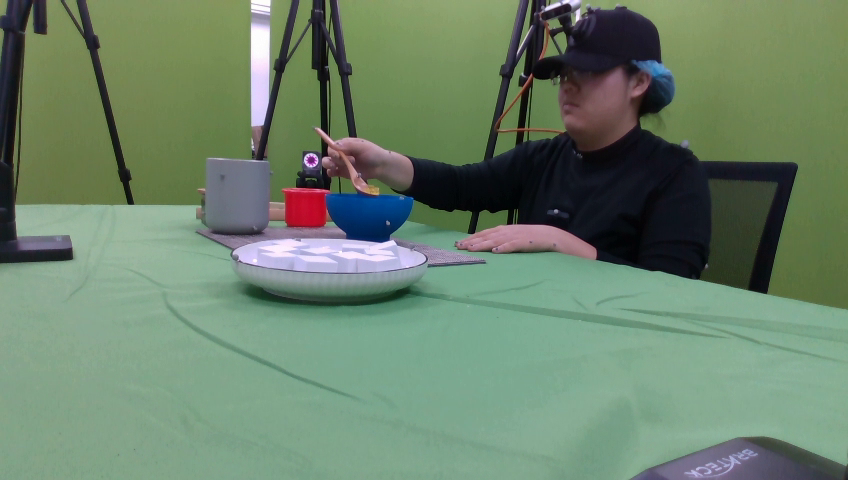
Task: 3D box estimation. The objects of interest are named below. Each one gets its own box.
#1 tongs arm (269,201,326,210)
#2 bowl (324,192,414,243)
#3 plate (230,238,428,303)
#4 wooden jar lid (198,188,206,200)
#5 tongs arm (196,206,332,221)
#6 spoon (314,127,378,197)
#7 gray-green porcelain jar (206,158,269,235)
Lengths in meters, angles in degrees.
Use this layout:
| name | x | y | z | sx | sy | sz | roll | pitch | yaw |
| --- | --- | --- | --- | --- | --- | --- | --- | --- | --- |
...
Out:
| name | x | y | z | sx | sy | sz | roll | pitch | yaw |
| --- | --- | --- | --- | --- | --- | --- | --- | --- | --- |
| tongs arm | -0.308 | -0.073 | 1.410 | 0.386 | 0.026 | 0.050 | 3 | 8 | -6 |
| bowl | -0.093 | -0.037 | 1.015 | 0.151 | 0.077 | 0.151 | 3 | 7 | 0 |
| plate | -0.099 | 0.032 | 0.651 | 0.209 | 0.038 | 0.209 | 3 | 8 | 0 |
| wooden jar lid | -0.382 | -0.088 | 1.175 | 0.108 | 0.020 | 0.108 | 3 | 8 | 0 |
| tongs arm | -0.294 | -0.057 | 1.330 | 0.389 | 0.028 | 0.028 | 0 | 5 | -20 |
| spoon | -0.140 | -0.140 | 1.064 | 0.042 | 0.021 | 0.193 | -4 | 51 | -51 |
| gray-green porcelain jar | -0.322 | -0.076 | 1.048 | 0.106 | 0.126 | 0.106 | 3 | 7 | 0 |
